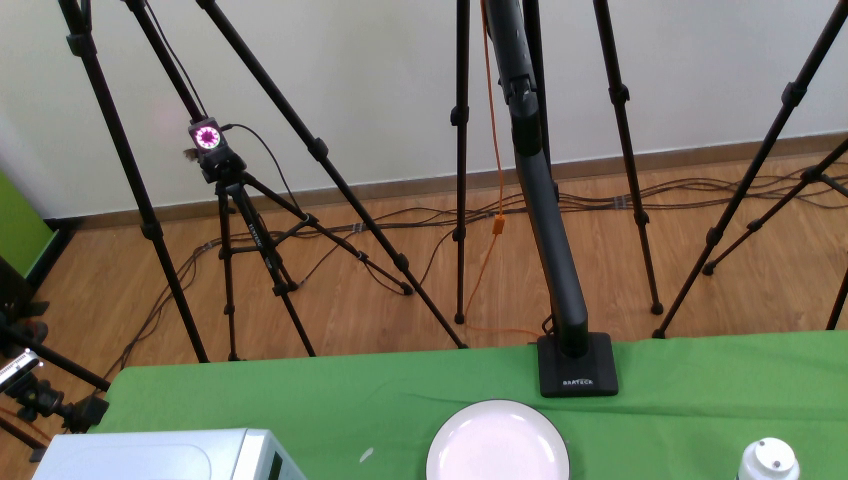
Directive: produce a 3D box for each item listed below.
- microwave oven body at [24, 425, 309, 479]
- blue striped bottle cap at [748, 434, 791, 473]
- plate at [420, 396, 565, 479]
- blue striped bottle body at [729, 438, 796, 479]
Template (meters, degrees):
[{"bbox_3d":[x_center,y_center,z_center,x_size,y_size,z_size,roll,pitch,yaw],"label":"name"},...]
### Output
[{"bbox_3d":[-0.336,0.472,0.690,0.325,0.263,0.437,-5,45,10],"label":"microwave oven body"},{"bbox_3d":[0.415,0.257,0.728,0.044,0.021,0.044,-8,47,9],"label":"blue striped bottle cap"},{"bbox_3d":[0.099,0.329,0.881,0.207,0.039,0.205,-8,44,8],"label":"plate"},{"bbox_3d":[0.425,0.293,0.762,0.063,0.122,0.062,-8,44,8],"label":"blue striped bottle body"}]
